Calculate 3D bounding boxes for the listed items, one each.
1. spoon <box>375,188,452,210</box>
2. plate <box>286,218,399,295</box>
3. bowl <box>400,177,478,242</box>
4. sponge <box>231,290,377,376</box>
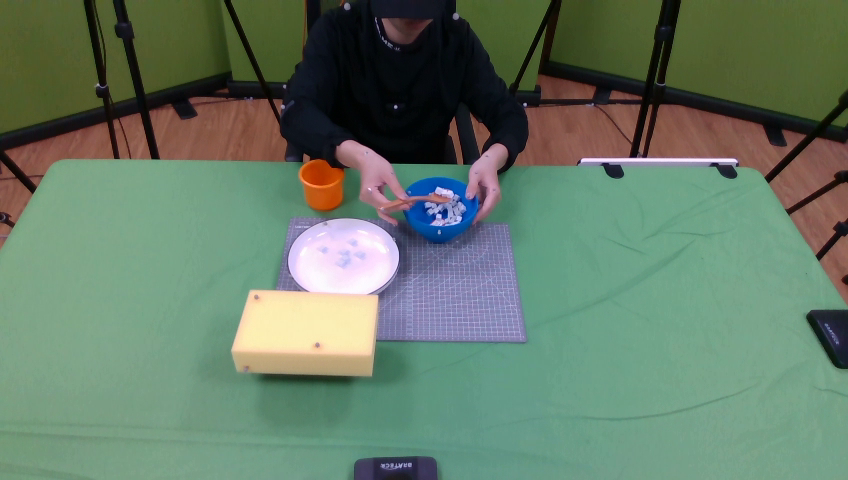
[{"bbox_3d":[-0.018,-0.076,1.129,0.194,0.022,0.041,-12,38,-45],"label":"spoon"},{"bbox_3d":[-0.150,0.041,1.131,0.209,0.038,0.208,2,45,-2],"label":"plate"},{"bbox_3d":[0.028,-0.048,1.190,0.151,0.077,0.150,1,44,-1],"label":"bowl"},{"bbox_3d":[-0.180,0.144,0.949,0.207,0.061,0.117,2,46,-2],"label":"sponge"}]
